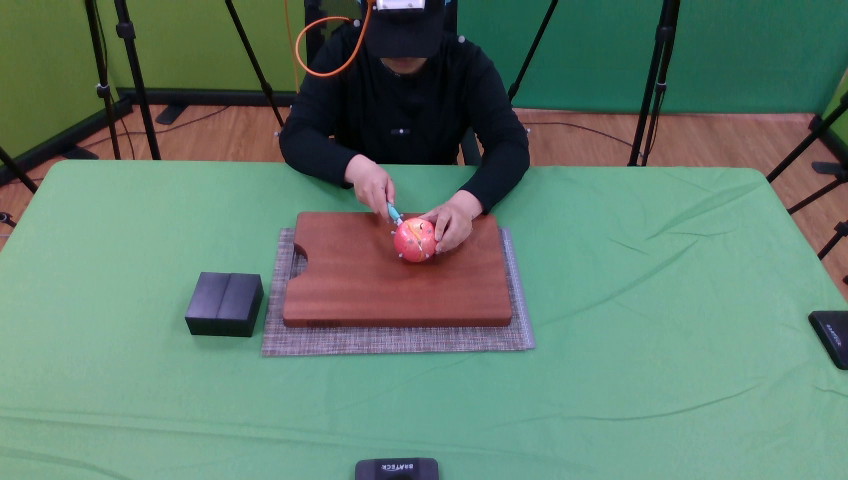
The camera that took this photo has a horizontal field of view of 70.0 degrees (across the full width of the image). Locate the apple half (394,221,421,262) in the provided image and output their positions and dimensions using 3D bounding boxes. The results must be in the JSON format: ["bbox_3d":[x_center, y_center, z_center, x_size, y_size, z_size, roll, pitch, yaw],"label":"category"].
[{"bbox_3d":[-0.037,0.010,1.110,0.033,0.081,0.081,-20,50,-22],"label":"apple half"}]

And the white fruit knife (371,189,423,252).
[{"bbox_3d":[-0.051,-0.040,1.142,0.016,0.027,0.206,-18,44,-24],"label":"white fruit knife"}]

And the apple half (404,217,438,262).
[{"bbox_3d":[-0.002,-0.003,1.126,0.053,0.075,0.080,-18,46,-26],"label":"apple half"}]
